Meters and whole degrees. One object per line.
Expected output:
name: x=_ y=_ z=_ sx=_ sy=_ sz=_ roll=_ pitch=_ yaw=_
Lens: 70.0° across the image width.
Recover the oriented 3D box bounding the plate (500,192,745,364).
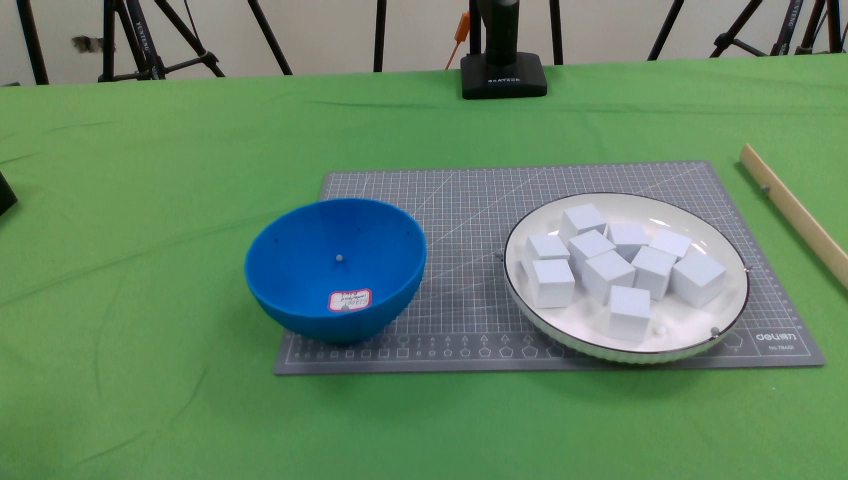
plate: x=0.172 y=0.032 z=0.544 sx=0.207 sy=0.039 sz=0.205 roll=-2 pitch=40 yaw=2

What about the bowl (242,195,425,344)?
bowl: x=-0.072 y=0.036 z=0.524 sx=0.151 sy=0.077 sz=0.150 roll=-2 pitch=40 yaw=2

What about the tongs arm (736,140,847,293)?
tongs arm: x=0.387 y=0.017 z=0.557 sx=0.028 sy=0.028 sz=0.383 roll=-4 pitch=41 yaw=-4
